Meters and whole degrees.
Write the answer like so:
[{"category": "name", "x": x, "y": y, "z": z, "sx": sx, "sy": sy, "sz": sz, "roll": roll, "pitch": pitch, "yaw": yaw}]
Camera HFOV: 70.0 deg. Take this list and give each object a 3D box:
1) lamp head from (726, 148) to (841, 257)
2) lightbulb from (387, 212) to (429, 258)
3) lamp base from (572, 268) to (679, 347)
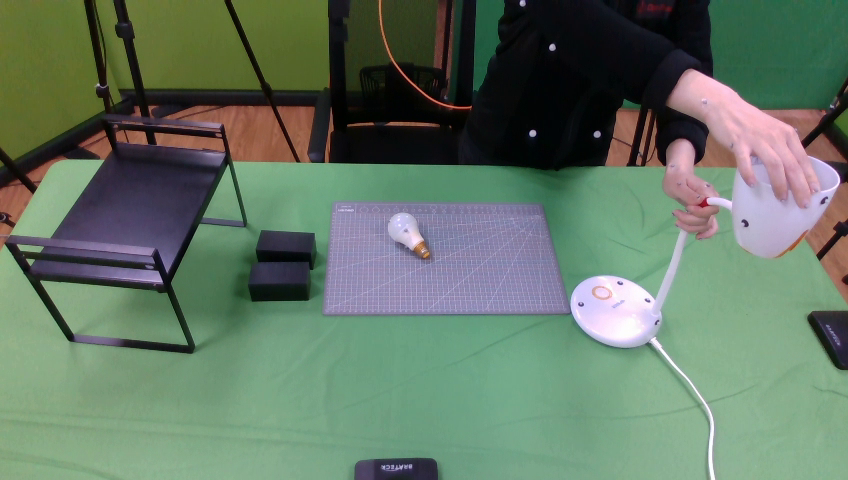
[{"category": "lamp head", "x": 0.433, "y": -0.042, "z": 0.756, "sx": 0.112, "sy": 0.123, "sz": 0.111, "roll": 1, "pitch": 40, "yaw": -1}, {"category": "lightbulb", "x": -0.027, "y": -0.007, "z": 1.179, "sx": 0.059, "sy": 0.060, "sz": 0.107, "roll": -31, "pitch": 71, "yaw": -29}, {"category": "lamp base", "x": 0.359, "y": 0.079, "z": 1.036, "sx": 0.160, "sy": 0.181, "sz": 0.178, "roll": -34, "pitch": 59, "yaw": -30}]
